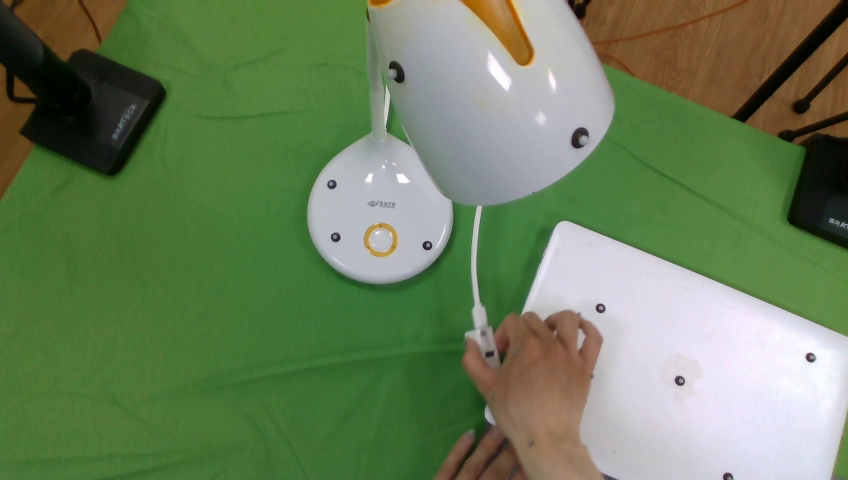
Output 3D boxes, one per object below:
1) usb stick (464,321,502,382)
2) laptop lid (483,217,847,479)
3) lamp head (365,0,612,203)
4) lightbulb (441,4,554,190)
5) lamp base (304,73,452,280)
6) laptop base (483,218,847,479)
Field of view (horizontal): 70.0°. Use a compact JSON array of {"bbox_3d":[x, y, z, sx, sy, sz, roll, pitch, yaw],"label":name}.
[{"bbox_3d":[0.061,0.113,0.608,0.021,0.027,0.059,-7,80,-33],"label":"usb stick"},{"bbox_3d":[0.262,0.142,0.629,0.356,0.013,0.241,24,77,3],"label":"laptop lid"},{"bbox_3d":[0.023,-0.099,0.312,0.112,0.111,0.124,-47,125,-13],"label":"lamp head"},{"bbox_3d":[0.035,-0.074,0.325,0.059,0.109,0.059,-14,43,14],"label":"lightbulb"},{"bbox_3d":[-0.048,-0.066,0.591,0.161,0.181,0.178,-7,74,-5],"label":"lamp base"},{"bbox_3d":[0.263,0.143,0.641,0.354,0.023,0.235,22,78,3],"label":"laptop base"}]
